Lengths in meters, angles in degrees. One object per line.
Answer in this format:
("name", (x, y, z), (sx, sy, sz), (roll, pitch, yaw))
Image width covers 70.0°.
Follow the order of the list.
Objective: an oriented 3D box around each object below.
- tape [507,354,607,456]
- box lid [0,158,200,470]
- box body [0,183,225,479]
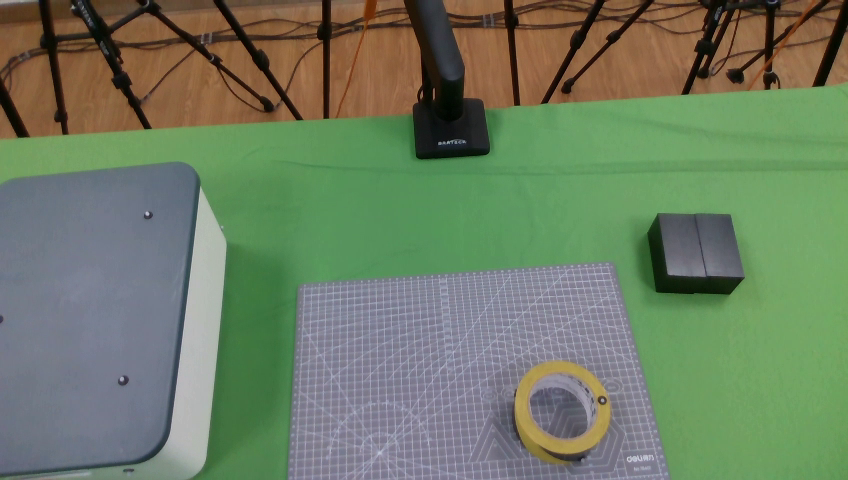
("tape", (0.161, 0.199, 0.731), (0.117, 0.053, 0.116), (-1, 59, 2))
("box lid", (-0.397, 0.061, 0.678), (0.263, 0.015, 0.368), (-5, 60, -2))
("box body", (-0.395, 0.102, 0.740), (0.254, 0.162, 0.360), (-5, 59, -2))
